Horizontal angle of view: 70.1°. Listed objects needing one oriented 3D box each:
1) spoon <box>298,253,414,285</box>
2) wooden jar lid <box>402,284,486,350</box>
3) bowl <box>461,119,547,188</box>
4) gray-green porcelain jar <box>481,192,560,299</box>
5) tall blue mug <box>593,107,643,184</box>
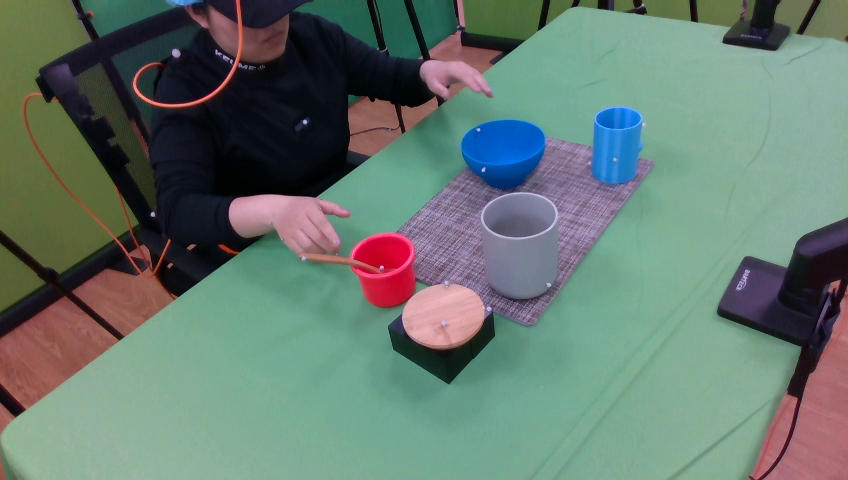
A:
[{"bbox_3d":[-0.093,0.038,0.866,0.195,0.021,0.041,19,24,-40],"label":"spoon"},{"bbox_3d":[0.026,0.101,0.786,0.108,0.021,0.108,-5,39,4],"label":"wooden jar lid"},{"bbox_3d":[0.145,-0.145,1.081,0.151,0.077,0.150,-5,40,5],"label":"bowl"},{"bbox_3d":[0.138,0.012,0.858,0.106,0.127,0.105,-6,40,5],"label":"gray-green porcelain jar"},{"bbox_3d":[0.330,-0.172,1.051,0.078,0.108,0.106,-12,40,0],"label":"tall blue mug"}]
